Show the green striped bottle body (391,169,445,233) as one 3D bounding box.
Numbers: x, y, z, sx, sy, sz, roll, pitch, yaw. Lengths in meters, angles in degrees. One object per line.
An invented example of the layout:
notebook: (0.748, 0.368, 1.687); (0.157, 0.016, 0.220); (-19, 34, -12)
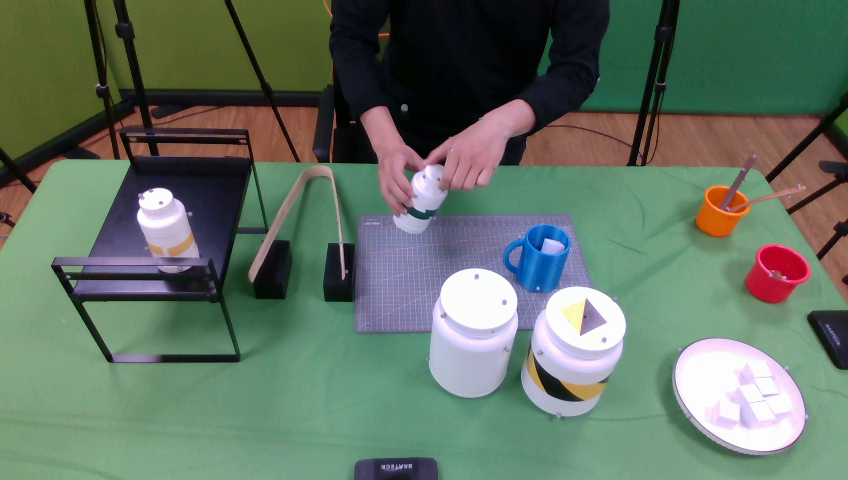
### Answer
green striped bottle body: (-0.007, -0.072, 1.012); (0.063, 0.119, 0.063); (15, 46, -16)

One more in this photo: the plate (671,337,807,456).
plate: (0.504, 0.254, 0.984); (0.208, 0.039, 0.206); (2, 46, -2)

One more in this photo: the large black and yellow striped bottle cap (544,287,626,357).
large black and yellow striped bottle cap: (0.232, 0.116, 0.876); (0.115, 0.019, 0.114); (2, 46, -1)

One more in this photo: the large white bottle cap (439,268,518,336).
large white bottle cap: (0.080, 0.089, 0.888); (0.115, 0.018, 0.114); (2, 47, -2)

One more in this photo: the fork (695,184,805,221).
fork: (0.657, -0.075, 1.230); (0.207, 0.019, 0.028); (-23, 34, 37)

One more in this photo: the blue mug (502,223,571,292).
blue mug: (0.202, 0.031, 1.121); (0.116, 0.106, 0.082); (5, 46, 1)

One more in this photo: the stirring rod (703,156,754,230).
stirring rod: (0.631, -0.098, 1.258); (0.014, 0.006, 0.176); (33, 95, 29)

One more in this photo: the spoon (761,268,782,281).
spoon: (0.638, 0.060, 1.105); (0.041, 0.021, 0.194); (38, 11, 24)

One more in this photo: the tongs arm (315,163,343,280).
tongs arm: (-0.188, -0.049, 1.170); (0.051, 0.026, 0.382); (-6, 35, -6)

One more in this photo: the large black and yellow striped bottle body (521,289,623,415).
large black and yellow striped bottle body: (0.228, 0.173, 0.938); (0.131, 0.185, 0.130); (2, 47, -2)

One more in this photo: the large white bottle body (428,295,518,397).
large white bottle body: (0.075, 0.147, 0.950); (0.131, 0.185, 0.130); (2, 47, -2)

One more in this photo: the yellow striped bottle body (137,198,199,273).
yellow striped bottle body: (-0.366, -0.014, 0.864); (0.063, 0.121, 0.062); (2, 46, -2)

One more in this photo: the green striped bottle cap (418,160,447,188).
green striped bottle cap: (0.014, -0.106, 0.972); (0.044, 0.020, 0.044); (15, 52, -19)

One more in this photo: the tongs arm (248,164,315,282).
tongs arm: (-0.269, -0.047, 1.166); (0.028, 0.028, 0.385); (-1, 34, 7)

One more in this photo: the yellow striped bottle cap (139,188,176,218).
yellow striped bottle cap: (-0.363, -0.051, 0.826); (0.044, 0.019, 0.044); (1, 47, -1)
